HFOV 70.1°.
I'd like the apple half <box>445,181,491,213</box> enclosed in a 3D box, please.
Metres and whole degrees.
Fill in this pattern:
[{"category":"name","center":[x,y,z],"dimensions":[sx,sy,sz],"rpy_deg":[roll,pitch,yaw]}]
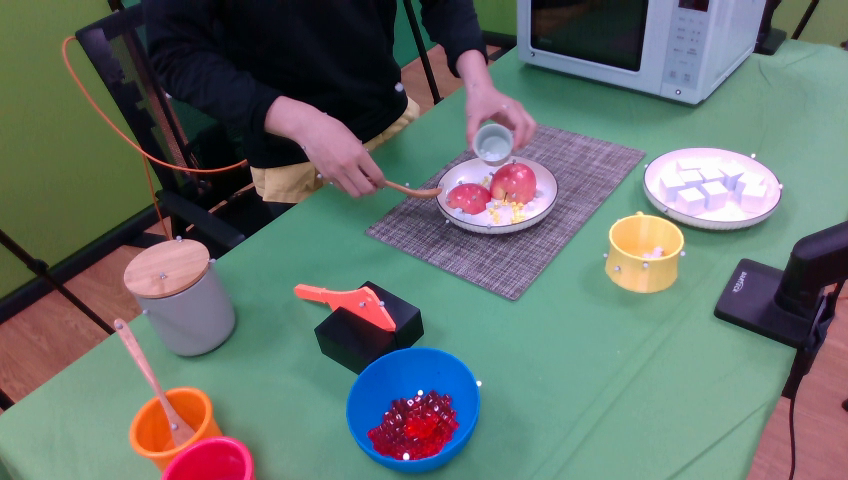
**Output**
[{"category":"apple half","center":[0.076,-0.083,1.029],"dimensions":[0.081,0.033,0.081],"rpy_deg":[-1,42,1]}]

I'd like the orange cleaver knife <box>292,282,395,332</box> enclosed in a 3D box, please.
[{"category":"orange cleaver knife","center":[-0.116,0.091,0.835],"dimensions":[0.209,0.077,0.012],"rpy_deg":[2,32,48]}]

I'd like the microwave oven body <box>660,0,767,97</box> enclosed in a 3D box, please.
[{"category":"microwave oven body","center":[0.474,-0.517,1.314],"dimensions":[0.438,0.261,0.327],"rpy_deg":[26,52,34]}]

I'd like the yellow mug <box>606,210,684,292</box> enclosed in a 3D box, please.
[{"category":"yellow mug","center":[0.318,0.007,0.883],"dimensions":[0.100,0.064,0.130],"rpy_deg":[0,41,8]}]

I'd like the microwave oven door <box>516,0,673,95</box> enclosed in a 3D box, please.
[{"category":"microwave oven door","center":[0.344,-0.458,1.257],"dimensions":[0.353,0.245,0.039],"rpy_deg":[26,52,33]}]

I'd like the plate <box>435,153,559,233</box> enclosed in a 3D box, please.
[{"category":"plate","center":[0.124,-0.078,1.026],"dimensions":[0.209,0.038,0.208],"rpy_deg":[-4,40,4]}]

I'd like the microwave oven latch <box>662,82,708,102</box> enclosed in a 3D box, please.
[{"category":"microwave oven latch","center":[0.518,-0.298,1.203],"dimensions":[0.078,0.029,0.030],"rpy_deg":[28,52,35]}]

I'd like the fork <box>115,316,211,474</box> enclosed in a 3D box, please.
[{"category":"fork","center":[-0.308,0.179,0.708],"dimensions":[0.028,0.018,0.207],"rpy_deg":[-30,89,-22]}]

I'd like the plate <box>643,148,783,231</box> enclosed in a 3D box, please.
[{"category":"plate","center":[0.464,-0.080,0.986],"dimensions":[0.207,0.039,0.206],"rpy_deg":[-4,41,4]}]

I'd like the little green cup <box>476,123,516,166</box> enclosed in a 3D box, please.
[{"category":"little green cup","center":[0.110,-0.146,0.937],"dimensions":[0.061,0.039,0.061],"rpy_deg":[0,71,0]}]

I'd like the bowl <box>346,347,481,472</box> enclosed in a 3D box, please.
[{"category":"bowl","center":[-0.008,0.205,0.691],"dimensions":[0.151,0.077,0.150],"rpy_deg":[-4,40,4]}]

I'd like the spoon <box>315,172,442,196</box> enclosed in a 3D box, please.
[{"category":"spoon","center":[-0.066,-0.087,0.908],"dimensions":[0.195,0.021,0.041],"rpy_deg":[9,9,-16]}]

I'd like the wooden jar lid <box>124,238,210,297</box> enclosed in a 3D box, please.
[{"category":"wooden jar lid","center":[-0.335,0.039,0.794],"dimensions":[0.108,0.021,0.108],"rpy_deg":[-2,40,2]}]

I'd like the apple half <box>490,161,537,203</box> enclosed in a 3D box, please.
[{"category":"apple half","center":[0.154,-0.106,1.030],"dimensions":[0.080,0.053,0.075],"rpy_deg":[22,46,31]}]

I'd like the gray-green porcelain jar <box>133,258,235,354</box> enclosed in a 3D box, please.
[{"category":"gray-green porcelain jar","center":[-0.327,0.086,0.836],"dimensions":[0.106,0.127,0.105],"rpy_deg":[-4,41,4]}]
